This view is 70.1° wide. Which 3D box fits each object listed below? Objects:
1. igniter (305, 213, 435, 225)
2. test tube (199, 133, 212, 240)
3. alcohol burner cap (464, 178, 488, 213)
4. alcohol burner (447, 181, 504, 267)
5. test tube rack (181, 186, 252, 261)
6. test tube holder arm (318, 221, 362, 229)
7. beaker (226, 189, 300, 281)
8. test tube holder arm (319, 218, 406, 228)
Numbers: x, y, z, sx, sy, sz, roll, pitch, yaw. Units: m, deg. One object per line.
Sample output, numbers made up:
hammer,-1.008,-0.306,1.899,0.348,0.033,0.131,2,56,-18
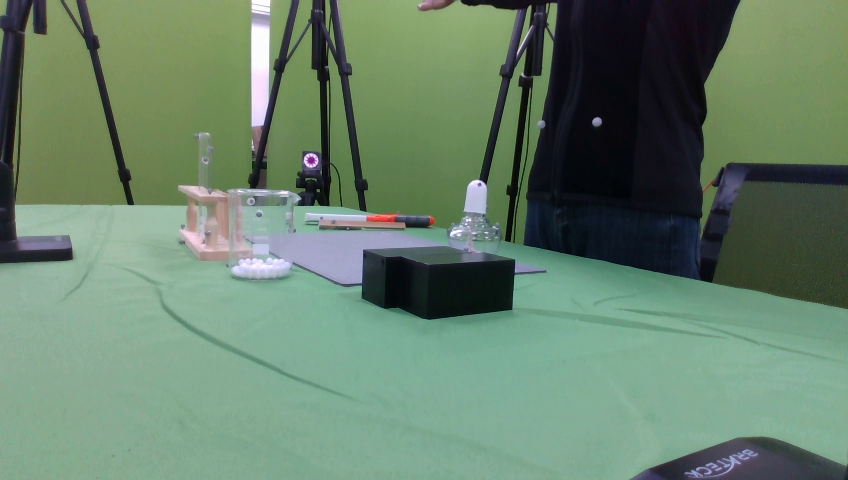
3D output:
igniter,-0.114,-0.046,1.299,0.277,0.025,0.057,1,-3,-12
test tube,-0.306,-0.075,0.846,0.017,0.150,0.017,0,0,0
alcohol burner cap,0.073,-0.060,0.824,0.034,0.048,0.034,6,4,0
alcohol burner,0.070,-0.024,0.828,0.078,0.119,0.078,0,6,0
test tube rack,-0.312,-0.031,0.893,0.067,0.085,0.241,-1,8,-27
test tube holder arm,-0.166,-0.031,1.203,0.088,0.015,0.010,0,-23,-20
beaker,-0.184,-0.007,0.694,0.084,0.100,0.073,-1,8,-29
test tube holder arm,-0.122,-0.033,1.214,0.179,0.015,0.013,1,-23,-20
